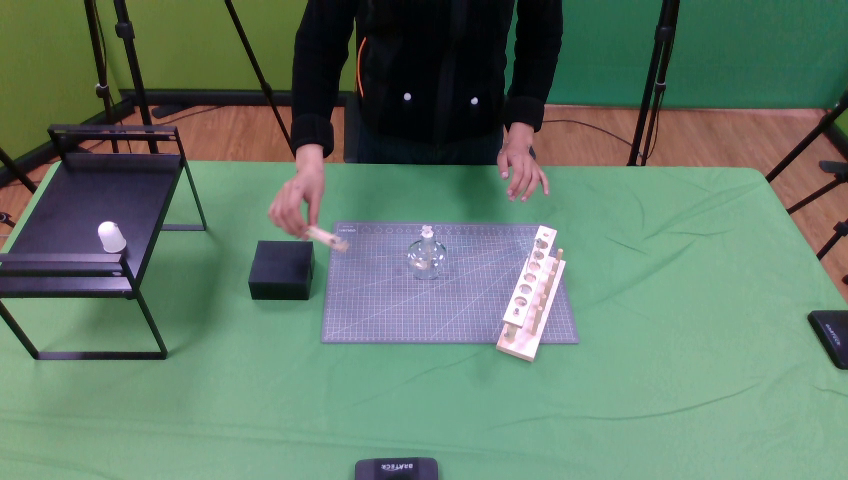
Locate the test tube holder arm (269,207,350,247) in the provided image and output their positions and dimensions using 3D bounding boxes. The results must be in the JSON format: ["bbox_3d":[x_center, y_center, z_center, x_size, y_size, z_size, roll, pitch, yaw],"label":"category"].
[{"bbox_3d":[-0.195,-0.023,1.018,0.177,0.015,0.013,24,75,29],"label":"test tube holder arm"}]

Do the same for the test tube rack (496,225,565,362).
[{"bbox_3d":[0.200,0.089,1.081,0.066,0.085,0.241,19,48,13],"label":"test tube rack"}]

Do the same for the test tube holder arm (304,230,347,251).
[{"bbox_3d":[-0.162,-0.003,0.995,0.087,0.015,0.010,23,75,29],"label":"test tube holder arm"}]

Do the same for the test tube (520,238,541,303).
[{"bbox_3d":[0.182,0.056,1.042,0.017,0.151,0.017,1,44,-1],"label":"test tube"}]

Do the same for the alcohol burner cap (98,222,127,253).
[{"bbox_3d":[-0.468,-0.007,0.905,0.034,0.048,0.033,3,46,-3],"label":"alcohol burner cap"}]

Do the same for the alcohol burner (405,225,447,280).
[{"bbox_3d":[0.004,0.017,1.115,0.078,0.120,0.077,1,47,-1],"label":"alcohol burner"}]
